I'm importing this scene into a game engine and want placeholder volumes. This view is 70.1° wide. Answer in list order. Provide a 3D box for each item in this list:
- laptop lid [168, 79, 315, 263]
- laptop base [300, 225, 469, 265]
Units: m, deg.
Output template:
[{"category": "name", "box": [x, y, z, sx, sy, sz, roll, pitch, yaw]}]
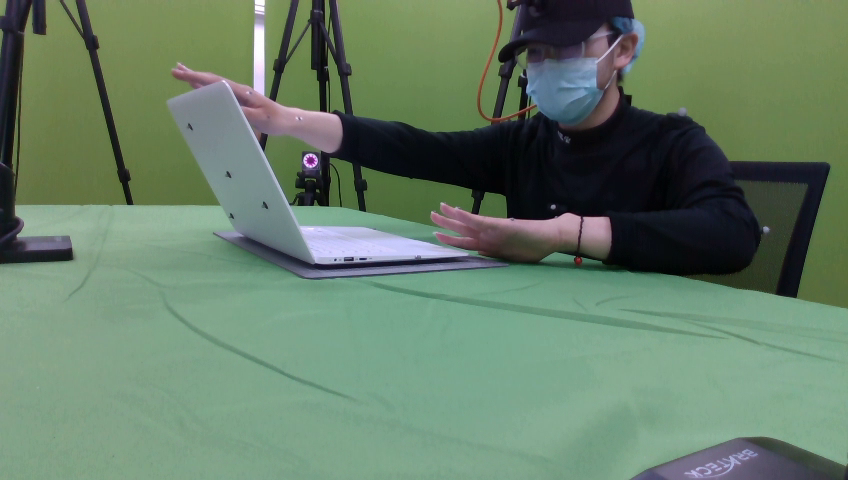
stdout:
[{"category": "laptop lid", "box": [-0.264, -0.093, 0.831, 0.013, 0.242, 0.355, -33, 25, -25]}, {"category": "laptop base", "box": [-0.124, 0.005, 0.936, 0.237, 0.023, 0.352, 2, 7, -33]}]
